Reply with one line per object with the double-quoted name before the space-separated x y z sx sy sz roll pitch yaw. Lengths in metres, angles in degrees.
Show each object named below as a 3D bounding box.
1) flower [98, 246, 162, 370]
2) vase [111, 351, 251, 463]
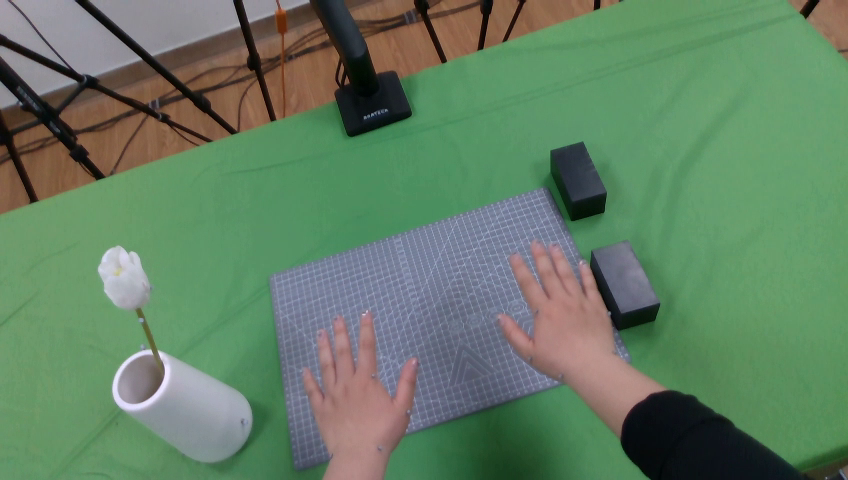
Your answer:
"flower" -0.288 0.147 0.670 0.038 0.365 0.043 -23 50 -26
"vase" -0.287 0.202 0.733 0.098 0.202 0.097 -5 57 7
